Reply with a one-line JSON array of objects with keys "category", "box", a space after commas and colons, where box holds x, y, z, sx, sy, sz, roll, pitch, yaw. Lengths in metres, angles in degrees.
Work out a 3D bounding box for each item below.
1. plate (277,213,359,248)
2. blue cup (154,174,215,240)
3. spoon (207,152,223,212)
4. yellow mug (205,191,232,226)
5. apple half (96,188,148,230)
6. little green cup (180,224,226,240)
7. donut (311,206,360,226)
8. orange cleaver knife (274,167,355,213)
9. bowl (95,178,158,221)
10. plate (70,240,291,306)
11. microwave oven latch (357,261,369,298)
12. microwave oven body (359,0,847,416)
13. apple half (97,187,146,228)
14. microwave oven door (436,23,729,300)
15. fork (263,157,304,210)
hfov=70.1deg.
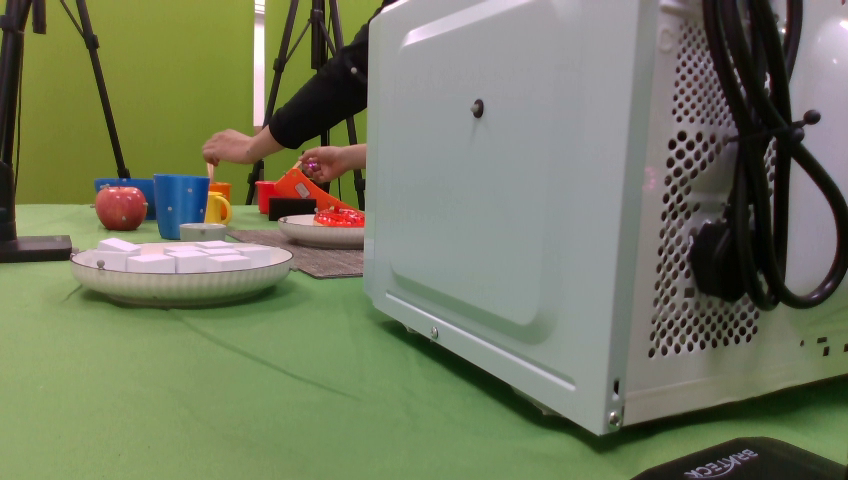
[{"category": "plate", "box": [-0.135, -0.017, 0.992, 0.209, 0.038, 0.209, 2, 8, 0]}, {"category": "blue cup", "box": [-0.391, -0.053, 0.978, 0.093, 0.100, 0.092, 4, 6, 0]}, {"category": "spoon", "box": [-0.463, -0.125, 1.320, 0.042, 0.193, 0.021, -1, -36, -21]}, {"category": "yellow mug", "box": [-0.415, -0.057, 1.131, 0.130, 0.064, 0.100, 6, 8, 16]}, {"category": "apple half", "box": [-0.517, -0.052, 1.036, 0.081, 0.074, 0.053, 2, 10, -26]}, {"category": "little green cup", "box": [-0.309, -0.001, 0.846, 0.061, 0.038, 0.061, 2, 8, 0]}, {"category": "donut", "box": [-0.137, -0.029, 0.995, 0.099, 0.048, 0.099, 3, 9, 0]}, {"category": "orange cleaver knife", "box": [-0.238, -0.090, 1.380, 0.212, 0.077, 0.012, 31, -3, -19]}, {"category": "bowl", "box": [-0.576, -0.081, 1.217, 0.151, 0.077, 0.151, 3, 8, 0]}, {"category": "plate", "box": [-0.242, 0.032, 0.618, 0.208, 0.039, 0.207, 3, 8, 0]}, {"category": "microwave oven latch", "box": [-0.019, 0.033, 0.530, 0.079, 0.029, 0.030, -1, 7, -26]}, {"category": "microwave oven body", "box": [0.211, -0.047, 0.474, 0.444, 0.260, 0.324, -1, 7, -28]}, {"category": "apple half", "box": [-0.535, -0.059, 1.072, 0.082, 0.081, 0.032, -1, 8, -25]}, {"category": "microwave oven door", "box": [0.180, -0.072, 0.621, 0.358, 0.243, 0.039, -2, 9, -29]}, {"category": "fork", "box": [-0.345, -0.143, 1.505, 0.028, 0.019, 0.207, -3, 46, 27]}]
